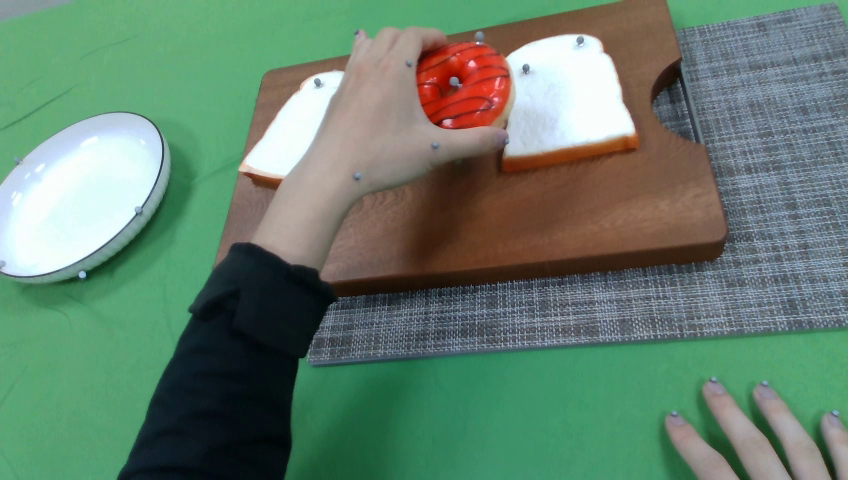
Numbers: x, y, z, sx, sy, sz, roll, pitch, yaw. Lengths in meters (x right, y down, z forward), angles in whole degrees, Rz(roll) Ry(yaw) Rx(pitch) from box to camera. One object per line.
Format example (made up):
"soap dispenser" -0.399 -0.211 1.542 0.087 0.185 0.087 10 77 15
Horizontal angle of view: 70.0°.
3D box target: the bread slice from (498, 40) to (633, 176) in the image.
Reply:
"bread slice" 0.107 -0.116 0.507 0.105 0.019 0.130 -10 57 10

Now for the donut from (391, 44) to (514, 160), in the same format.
"donut" 0.020 -0.105 0.459 0.099 0.049 0.098 -12 60 21

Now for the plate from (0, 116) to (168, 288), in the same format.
"plate" -0.353 -0.039 0.621 0.209 0.038 0.207 -8 56 12

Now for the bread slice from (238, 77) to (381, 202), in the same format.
"bread slice" -0.099 -0.096 0.558 0.106 0.018 0.133 10 63 23
